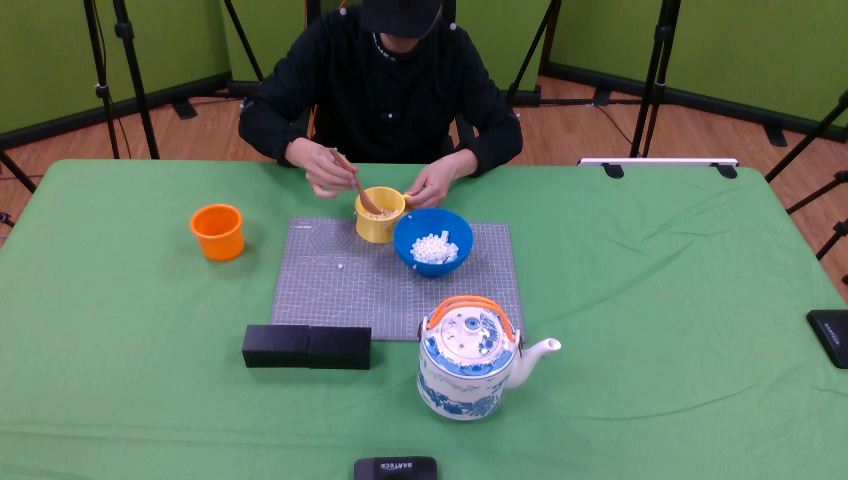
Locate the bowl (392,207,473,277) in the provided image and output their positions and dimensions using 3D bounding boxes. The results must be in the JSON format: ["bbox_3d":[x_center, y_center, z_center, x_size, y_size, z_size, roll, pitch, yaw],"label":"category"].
[{"bbox_3d":[0.014,0.016,1.140,0.151,0.077,0.150,2,46,-2],"label":"bowl"}]

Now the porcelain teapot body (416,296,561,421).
[{"bbox_3d":[0.094,0.164,0.907,0.205,0.226,0.144,6,45,1],"label":"porcelain teapot body"}]

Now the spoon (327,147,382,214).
[{"bbox_3d":[-0.129,-0.107,1.123,0.041,0.195,0.021,18,62,37],"label":"spoon"}]

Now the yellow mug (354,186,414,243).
[{"bbox_3d":[-0.076,-0.057,1.212,0.131,0.064,0.099,-24,52,-25],"label":"yellow mug"}]

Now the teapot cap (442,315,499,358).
[{"bbox_3d":[0.068,0.133,0.880,0.085,0.044,0.084,4,45,-4],"label":"teapot cap"}]
